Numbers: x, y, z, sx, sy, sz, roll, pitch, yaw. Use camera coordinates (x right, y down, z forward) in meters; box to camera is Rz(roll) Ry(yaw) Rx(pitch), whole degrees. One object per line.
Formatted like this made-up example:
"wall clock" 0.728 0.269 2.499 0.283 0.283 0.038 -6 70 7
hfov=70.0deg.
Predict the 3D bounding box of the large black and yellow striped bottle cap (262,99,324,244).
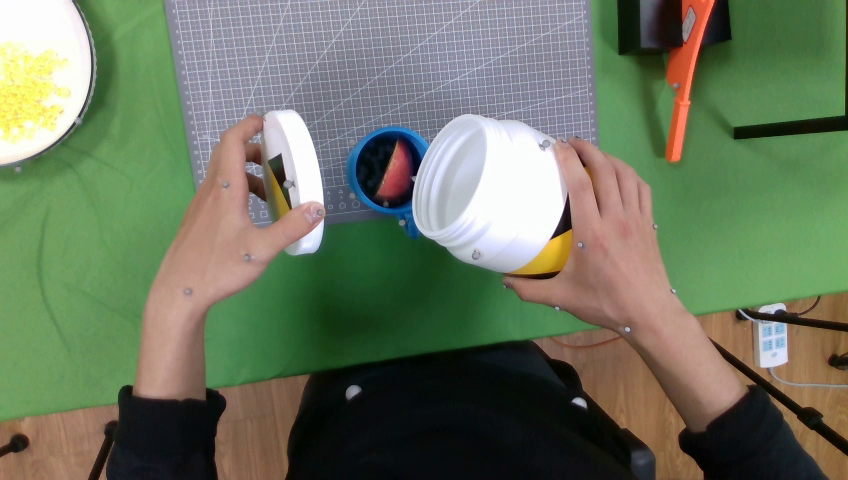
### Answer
"large black and yellow striped bottle cap" -0.106 -0.053 0.483 0.019 0.114 0.115 -14 100 -23

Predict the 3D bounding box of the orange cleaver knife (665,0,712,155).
"orange cleaver knife" 0.286 -0.200 0.673 0.012 0.076 0.213 -5 126 -1

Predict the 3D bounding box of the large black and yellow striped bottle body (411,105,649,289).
"large black and yellow striped bottle body" 0.093 -0.037 0.544 0.185 0.129 0.131 18 95 -29

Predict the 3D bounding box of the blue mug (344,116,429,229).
"blue mug" -0.032 -0.065 0.618 0.082 0.105 0.117 -23 102 -7

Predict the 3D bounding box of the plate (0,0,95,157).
"plate" -0.416 -0.181 0.563 0.209 0.038 0.209 -2 99 -10
